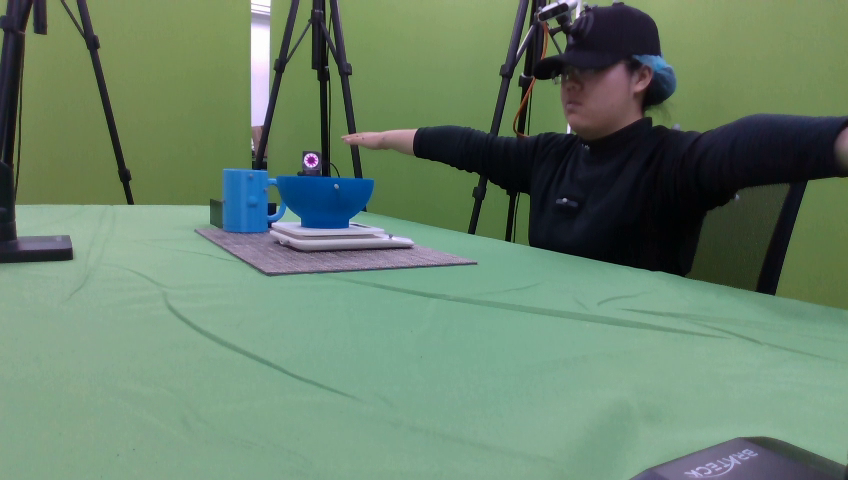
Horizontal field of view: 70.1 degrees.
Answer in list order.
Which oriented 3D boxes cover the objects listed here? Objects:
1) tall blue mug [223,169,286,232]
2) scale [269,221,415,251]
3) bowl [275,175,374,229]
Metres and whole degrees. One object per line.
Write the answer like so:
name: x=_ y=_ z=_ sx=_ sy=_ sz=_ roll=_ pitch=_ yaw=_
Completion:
tall blue mug: x=-0.310 y=-0.072 z=1.091 sx=0.077 sy=0.108 sz=0.107 roll=5 pitch=8 yaw=27
scale: x=-0.130 y=-0.008 z=0.959 sx=0.202 sy=0.031 sz=0.148 roll=-1 pitch=9 yaw=-32
bowl: x=-0.153 y=-0.059 z=0.932 sx=0.151 sy=0.077 sz=0.151 roll=2 pitch=6 yaw=0
